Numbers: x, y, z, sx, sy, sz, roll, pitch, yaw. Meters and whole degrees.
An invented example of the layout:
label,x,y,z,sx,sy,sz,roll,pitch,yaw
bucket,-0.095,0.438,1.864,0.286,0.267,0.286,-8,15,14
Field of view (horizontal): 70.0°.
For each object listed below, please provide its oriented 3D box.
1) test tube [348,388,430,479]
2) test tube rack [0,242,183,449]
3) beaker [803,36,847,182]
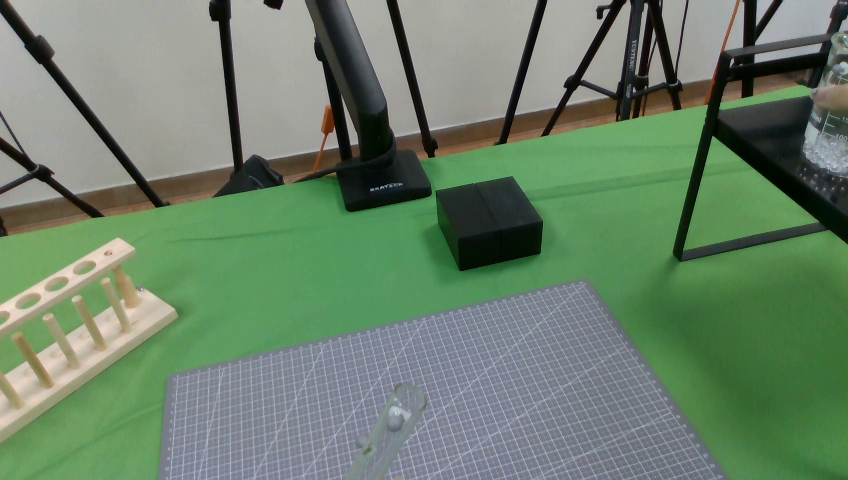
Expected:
label,x,y,z,sx,sy,sz,roll,pitch,yaw
test tube,-0.034,0.124,0.284,0.017,0.151,0.017,21,29,-12
test tube rack,-0.369,0.108,0.589,0.066,0.086,0.242,24,46,31
beaker,0.349,-0.104,0.478,0.074,0.101,0.083,-7,35,-4
